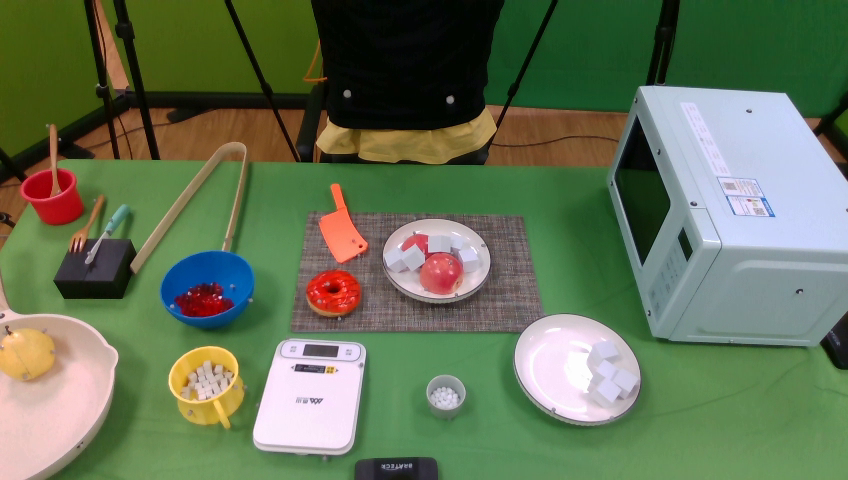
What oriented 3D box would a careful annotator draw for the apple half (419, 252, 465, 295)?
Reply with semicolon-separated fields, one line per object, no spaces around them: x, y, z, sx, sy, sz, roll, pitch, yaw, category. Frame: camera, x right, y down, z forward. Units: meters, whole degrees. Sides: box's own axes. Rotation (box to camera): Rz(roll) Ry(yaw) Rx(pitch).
0.035;0.055;1.109;0.074;0.053;0.081;38;55;24;apple half

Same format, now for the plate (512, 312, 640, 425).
0.246;0.213;0.999;0.208;0.039;0.206;2;46;-2;plate

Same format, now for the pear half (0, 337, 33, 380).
-0.631;0.184;0.921;0.070;0.088;0.031;29;49;19;pear half

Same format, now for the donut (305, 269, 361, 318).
-0.160;0.094;1.075;0.099;0.048;0.098;4;45;-3;donut

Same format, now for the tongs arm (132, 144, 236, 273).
-0.482;-0.077;1.235;0.028;0.028;0.385;6;45;12;tongs arm

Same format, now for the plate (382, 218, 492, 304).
0.023;0.042;1.143;0.209;0.038;0.208;2;46;-2;plate

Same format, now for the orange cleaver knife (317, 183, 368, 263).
-0.174;-0.037;1.218;0.077;0.012;0.210;-17;51;-11;orange cleaver knife

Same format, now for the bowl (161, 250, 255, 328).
-0.362;0.098;1.039;0.151;0.077;0.150;2;45;-2;bowl

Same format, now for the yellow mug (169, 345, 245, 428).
-0.322;0.230;0.922;0.100;0.064;0.130;-24;53;-25;yellow mug

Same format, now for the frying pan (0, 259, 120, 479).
-0.647;0.164;0.936;0.307;0.103;0.485;-19;58;-22;frying pan

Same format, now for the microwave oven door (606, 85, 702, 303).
0.423;-0.094;1.140;0.039;0.245;0.353;2;46;-1;microwave oven door

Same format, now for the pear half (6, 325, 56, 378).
-0.608;0.158;0.935;0.076;0.110;0.056;31;51;20;pear half

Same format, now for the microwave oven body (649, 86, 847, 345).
0.567;-0.053;1.118;0.326;0.261;0.439;2;45;-1;microwave oven body

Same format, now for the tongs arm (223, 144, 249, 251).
-0.397;-0.073;1.233;0.051;0.026;0.382;-2;45;0;tongs arm

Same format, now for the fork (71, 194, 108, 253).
-0.634;-0.036;1.158;0.028;0.019;0.206;-7;31;-8;fork

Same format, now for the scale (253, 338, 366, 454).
-0.175;0.236;0.951;0.149;0.032;0.199;4;45;-1;scale

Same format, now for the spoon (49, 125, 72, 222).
-0.718;-0.131;1.189;0.041;0.021;0.193;-4;91;-6;spoon

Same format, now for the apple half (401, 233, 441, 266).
-0.004;0.013;1.160;0.081;0.033;0.081;5;44;-4;apple half

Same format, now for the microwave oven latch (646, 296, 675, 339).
0.412;0.134;1.061;0.030;0.029;0.078;4;45;1;microwave oven latch

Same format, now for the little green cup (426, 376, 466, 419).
0.033;0.248;0.950;0.061;0.039;0.061;2;46;-2;little green cup

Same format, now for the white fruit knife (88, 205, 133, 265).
-0.583;-0.013;1.129;0.016;0.027;0.206;-2;32;-4;white fruit knife
